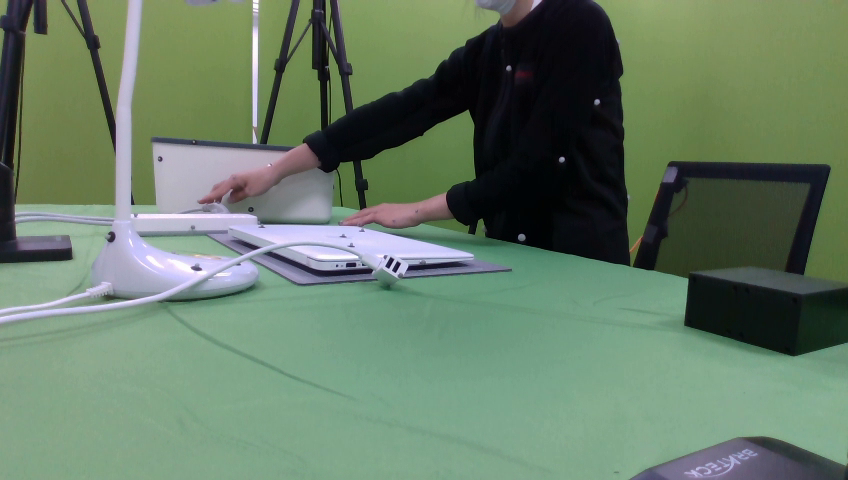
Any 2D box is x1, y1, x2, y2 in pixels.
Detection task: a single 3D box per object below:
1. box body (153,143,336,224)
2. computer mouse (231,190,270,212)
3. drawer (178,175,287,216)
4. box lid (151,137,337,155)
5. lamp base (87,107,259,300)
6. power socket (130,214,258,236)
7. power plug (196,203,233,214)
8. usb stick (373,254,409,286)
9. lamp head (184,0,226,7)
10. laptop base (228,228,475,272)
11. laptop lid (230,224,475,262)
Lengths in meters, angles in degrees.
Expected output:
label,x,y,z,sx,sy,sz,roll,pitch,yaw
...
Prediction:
label,x,y,z,sx,sy,sz,roll,pitch,yaw
box body,-0.380,-0.130,1.344,0.365,0.160,0.253,1,7,-9
computer mouse,-0.382,-0.086,1.342,0.063,0.041,0.117,10,10,-4
drawer,-0.414,-0.103,1.341,0.212,0.073,0.194,5,6,-11
box lid,-0.379,-0.203,1.334,0.372,0.015,0.262,2,7,-9
lamp base,-0.254,-0.039,0.603,0.160,0.180,0.179,5,10,18
power socket,-0.398,-0.028,1.049,0.228,0.032,0.072,-3,7,-34
power plug,-0.391,-0.043,1.141,0.072,0.052,0.035,-11,1,38
usb stick,-0.038,0.035,0.663,0.027,0.021,0.059,28,-21,-7
lamp head,-0.229,-0.320,0.627,0.112,0.112,0.123,6,-36,26
laptop base,-0.122,0.011,0.889,0.237,0.023,0.352,2,6,-35
laptop lid,-0.119,0.000,0.889,0.243,0.013,0.355,1,7,-33
